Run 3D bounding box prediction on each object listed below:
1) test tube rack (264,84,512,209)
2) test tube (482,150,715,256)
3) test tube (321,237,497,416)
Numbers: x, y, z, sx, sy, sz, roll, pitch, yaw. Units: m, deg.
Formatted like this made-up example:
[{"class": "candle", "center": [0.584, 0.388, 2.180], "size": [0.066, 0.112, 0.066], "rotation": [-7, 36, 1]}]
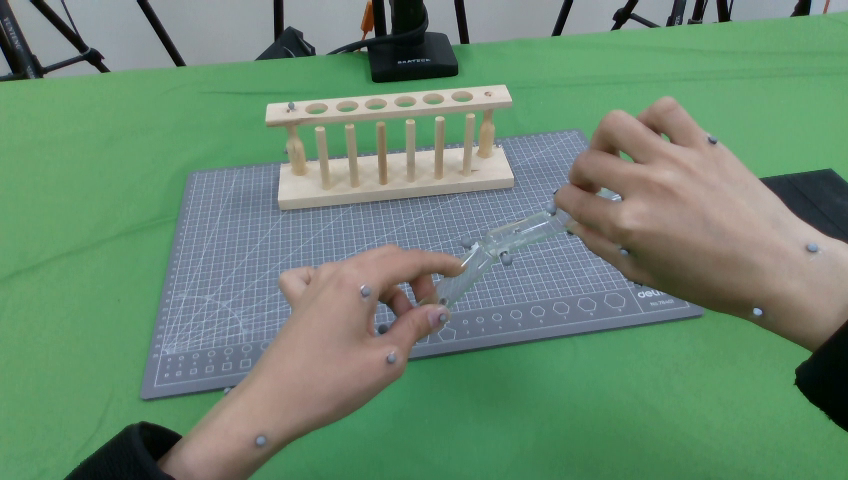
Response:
[{"class": "test tube rack", "center": [-0.033, -0.096, 0.620], "size": [0.243, 0.086, 0.066], "rotation": [-6, 42, -5]}, {"class": "test tube", "center": [0.103, -0.023, 0.349], "size": [0.150, 0.017, 0.017], "rotation": [-20, 45, -11]}, {"class": "test tube", "center": [-0.012, 0.055, 0.358], "size": [0.150, 0.017, 0.017], "rotation": [-47, 43, 17]}]
